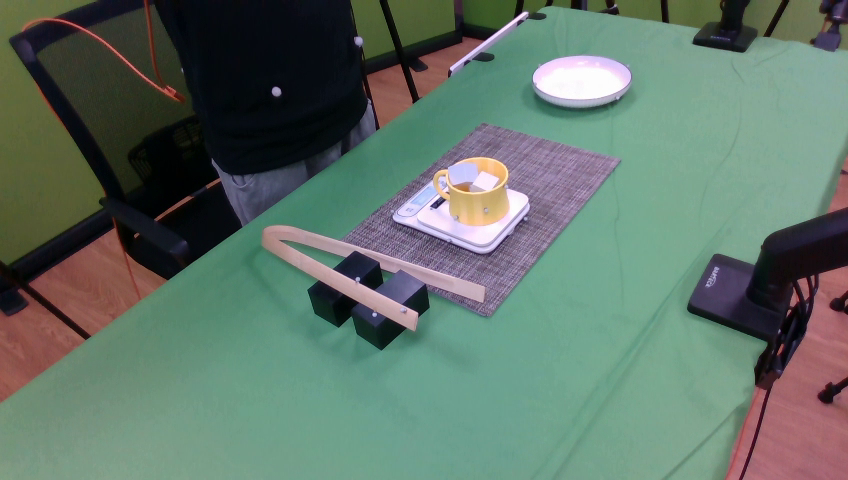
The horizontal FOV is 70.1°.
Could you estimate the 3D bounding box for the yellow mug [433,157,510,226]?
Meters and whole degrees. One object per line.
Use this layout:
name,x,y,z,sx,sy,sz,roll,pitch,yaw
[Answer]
yellow mug,0.072,-0.082,0.968,0.130,0.064,0.100,13,46,24

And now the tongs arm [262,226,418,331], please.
tongs arm,-0.132,0.044,0.867,0.381,0.026,0.051,21,24,39

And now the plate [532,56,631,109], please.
plate,0.336,-0.335,1.301,0.207,0.039,0.206,-4,41,4

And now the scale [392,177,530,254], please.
scale,0.060,-0.050,1.006,0.199,0.032,0.149,22,48,30

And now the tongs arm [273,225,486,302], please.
tongs arm,-0.080,0.031,0.930,0.385,0.028,0.028,15,25,27
